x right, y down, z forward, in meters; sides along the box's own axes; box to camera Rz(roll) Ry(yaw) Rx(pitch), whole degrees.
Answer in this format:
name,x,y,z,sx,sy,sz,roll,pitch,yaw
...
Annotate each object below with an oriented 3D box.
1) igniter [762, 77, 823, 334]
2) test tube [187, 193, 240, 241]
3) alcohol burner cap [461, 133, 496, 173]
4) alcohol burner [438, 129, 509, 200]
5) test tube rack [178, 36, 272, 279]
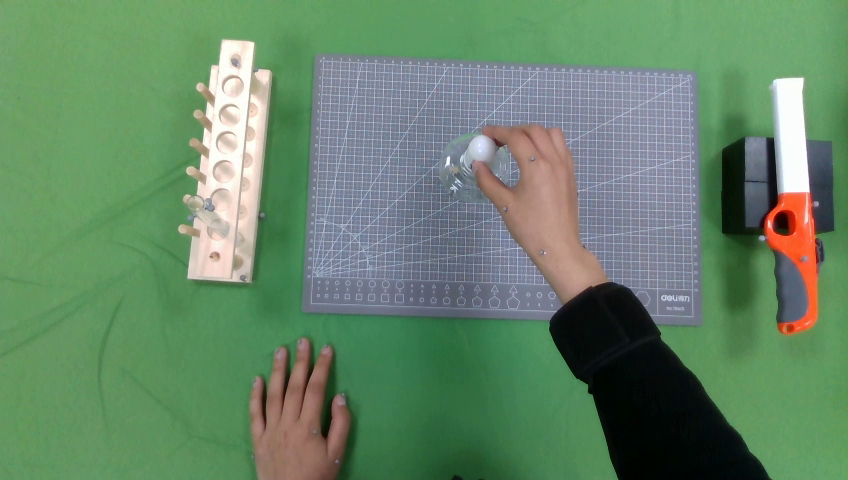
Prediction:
name,x,y,z,sx,sy,sz,roll,pitch,yaw
igniter,0.391,-0.039,0.648,0.057,0.025,0.275,1,83,10
test tube,-0.201,-0.019,0.588,0.017,0.150,0.017,1,78,-5
alcohol burner cap,0.055,-0.089,0.595,0.034,0.048,0.033,1,78,-4
alcohol burner,0.053,-0.083,0.639,0.078,0.119,0.077,0,85,-1
test tube rack,-0.215,-0.083,0.644,0.067,0.085,0.241,4,84,-2
